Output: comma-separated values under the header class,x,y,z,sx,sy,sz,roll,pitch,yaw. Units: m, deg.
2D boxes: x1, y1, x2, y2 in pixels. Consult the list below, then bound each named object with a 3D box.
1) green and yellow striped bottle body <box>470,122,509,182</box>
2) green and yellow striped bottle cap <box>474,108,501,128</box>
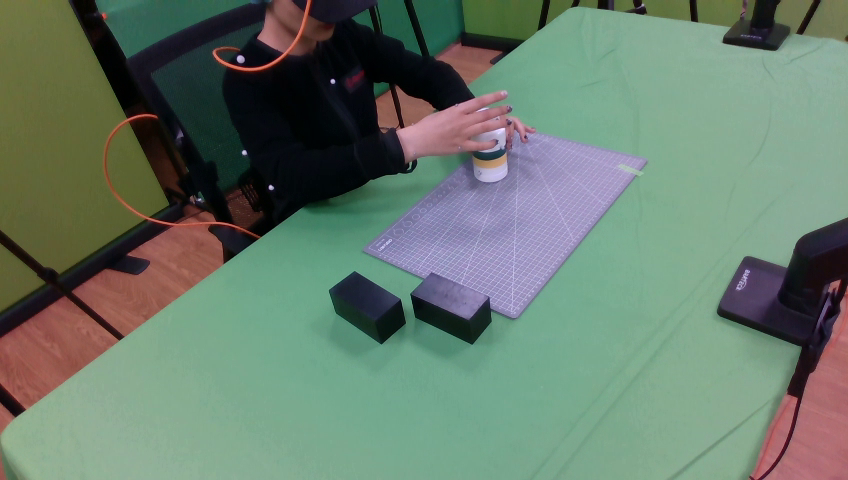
class,x,y,z,sx,sy,sz,roll,pitch,yaw
green and yellow striped bottle body,0.117,-0.169,1.079,0.063,0.120,0.063,-6,40,5
green and yellow striped bottle cap,0.109,-0.211,1.042,0.045,0.020,0.045,-8,34,6
